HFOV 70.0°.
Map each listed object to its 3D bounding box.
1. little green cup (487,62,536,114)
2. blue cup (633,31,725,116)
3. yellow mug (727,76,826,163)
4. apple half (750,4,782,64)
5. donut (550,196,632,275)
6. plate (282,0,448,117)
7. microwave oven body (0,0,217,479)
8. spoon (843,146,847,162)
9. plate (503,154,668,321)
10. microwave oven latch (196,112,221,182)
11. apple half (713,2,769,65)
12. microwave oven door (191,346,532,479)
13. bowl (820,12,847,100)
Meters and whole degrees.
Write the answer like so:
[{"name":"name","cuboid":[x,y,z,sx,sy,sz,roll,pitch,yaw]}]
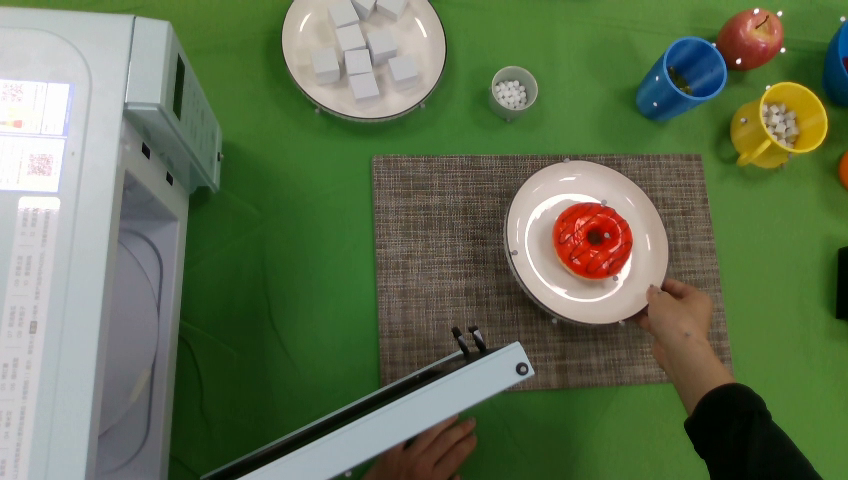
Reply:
[{"name":"little green cup","cuboid":[0.112,-0.197,0.792,0.062,0.039,0.061,2,78,-7]},{"name":"blue cup","cuboid":[0.324,-0.209,0.792,0.093,0.100,0.092,2,80,-8]},{"name":"yellow mug","cuboid":[0.467,-0.152,0.819,0.130,0.064,0.100,-44,88,-13]},{"name":"apple half","cuboid":[0.471,-0.282,0.841,0.033,0.081,0.081,4,78,-4]},{"name":"donut","cuboid":[0.201,-0.006,0.730,0.099,0.048,0.098,2,74,-7]},{"name":"plate","cuboid":[-0.074,-0.251,0.776,0.208,0.039,0.206,2,78,-8]},{"name":"microwave oven body","cuboid":[-0.387,0.041,0.556,0.327,0.260,0.440,1,79,-8]},{"name":"spoon","cuboid":[0.655,-0.090,0.791,0.041,0.191,0.022,-45,131,-13]},{"name":"plate","cuboid":[0.193,-0.002,0.740,0.210,0.038,0.208,3,73,-9]},{"name":"microwave oven latch","cuboid":[-0.253,-0.109,0.704,0.030,0.029,0.079,3,79,-8]},{"name":"apple half","cuboid":[0.432,-0.285,0.837,0.053,0.075,0.080,4,81,-4]},{"name":"microwave oven door","cuboid":[-0.090,0.185,0.565,0.356,0.244,0.039,-24,82,-12]},{"name":"bowl","cuboid":[0.621,-0.248,0.854,0.152,0.077,0.150,1,79,-7]}]
